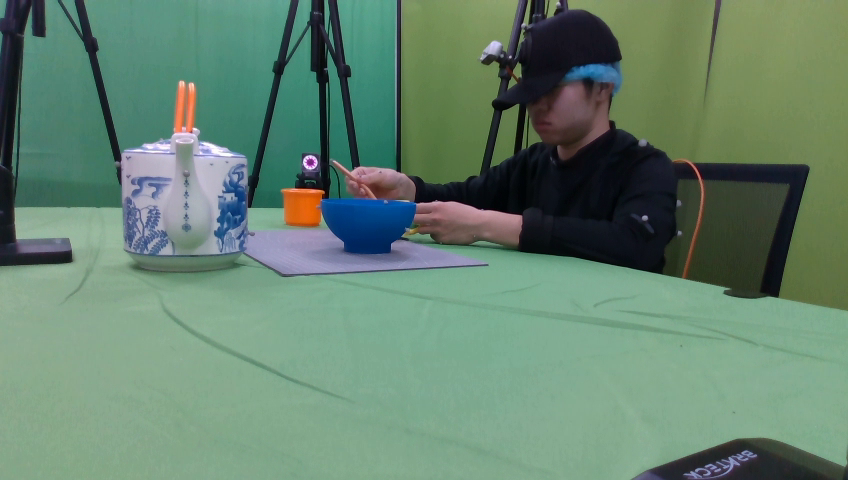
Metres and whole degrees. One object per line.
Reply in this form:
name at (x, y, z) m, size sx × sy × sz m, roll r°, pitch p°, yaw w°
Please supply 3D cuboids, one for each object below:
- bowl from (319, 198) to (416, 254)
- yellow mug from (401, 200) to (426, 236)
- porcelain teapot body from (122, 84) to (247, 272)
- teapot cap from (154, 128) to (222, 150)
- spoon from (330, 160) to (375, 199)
bowl at (-0.089, -0.022, 0.941) m, size 0.151 × 0.077 × 0.151 m, roll 2°, pitch 7°, yaw 0°
yellow mug at (-0.061, -0.042, 1.124) m, size 0.131 × 0.064 × 0.100 m, roll 0°, pitch 5°, yaw 5°
porcelain teapot body at (-0.286, -0.075, 0.733) m, size 0.146 × 0.225 × 0.204 m, roll 0°, pitch 8°, yaw -24°
teapot cap at (-0.294, -0.117, 0.754) m, size 0.085 × 0.044 × 0.085 m, roll 4°, pitch 9°, yaw 0°
spoon at (-0.110, -0.089, 1.138) m, size 0.193 × 0.021 × 0.042 m, roll 46°, pitch 16°, yaw 13°
